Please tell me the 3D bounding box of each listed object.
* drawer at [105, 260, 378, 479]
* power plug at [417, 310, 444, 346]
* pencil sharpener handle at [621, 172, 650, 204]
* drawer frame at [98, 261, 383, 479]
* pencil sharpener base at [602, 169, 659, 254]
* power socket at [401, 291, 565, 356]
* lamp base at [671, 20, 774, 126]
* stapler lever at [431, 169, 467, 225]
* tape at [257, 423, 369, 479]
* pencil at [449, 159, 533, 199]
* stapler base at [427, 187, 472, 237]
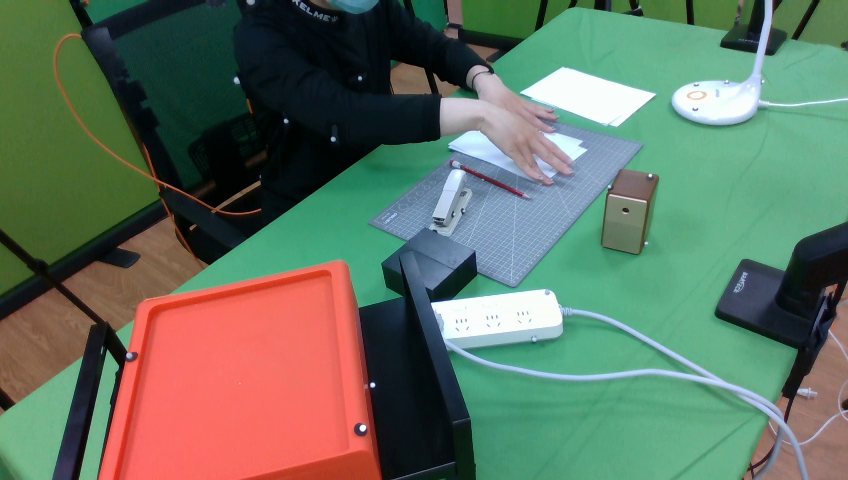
[{"bbox_3d":[-0.150,0.127,0.524,0.195,0.073,0.210,-11,41,-5],"label":"drawer"},{"bbox_3d":[0.006,0.122,0.785,0.035,0.053,0.072,-1,40,9],"label":"power plug"},{"bbox_3d":[0.328,-0.086,0.940,0.036,0.068,0.030,30,49,7],"label":"pencil sharpener handle"},{"bbox_3d":[-0.148,0.129,0.520,0.202,0.083,0.212,-12,41,-6],"label":"drawer frame"},{"bbox_3d":[0.312,-0.044,0.913,0.061,0.107,0.077,14,45,24],"label":"pencil sharpener base"},{"bbox_3d":[0.080,0.112,0.822,0.227,0.033,0.072,-6,41,0],"label":"power socket"},{"bbox_3d":[0.581,-0.332,1.154,0.179,0.181,0.160,2,41,7],"label":"lamp base"},{"bbox_3d":[0.043,-0.074,1.010,0.026,0.040,0.118,9,44,20],"label":"stapler lever"},{"bbox_3d":[-0.121,0.262,0.660,0.117,0.053,0.116,-4,40,4],"label":"tape"},{"bbox_3d":[0.118,-0.110,1.091,0.192,0.012,0.012,30,53,34],"label":"pencil"},{"bbox_3d":[0.045,-0.057,1.028,0.041,0.024,0.130,9,44,20],"label":"stapler base"}]
